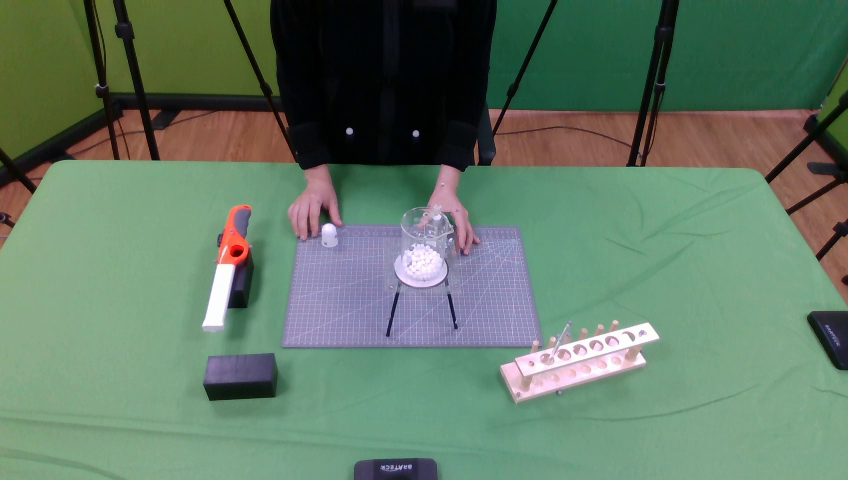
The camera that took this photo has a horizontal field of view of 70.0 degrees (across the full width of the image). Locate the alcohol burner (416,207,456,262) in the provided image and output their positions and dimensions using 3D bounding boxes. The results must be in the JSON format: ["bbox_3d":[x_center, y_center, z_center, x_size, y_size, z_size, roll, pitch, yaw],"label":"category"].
[{"bbox_3d":[0.024,-0.016,1.148,0.078,0.120,0.077,1,47,-1],"label":"alcohol burner"}]

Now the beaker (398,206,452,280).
[{"bbox_3d":[0.000,0.008,0.950,0.084,0.101,0.073,10,45,6],"label":"beaker"}]

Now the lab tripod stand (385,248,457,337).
[{"bbox_3d":[-0.010,0.087,1.032,0.148,0.132,0.147,1,45,-1],"label":"lab tripod stand"}]

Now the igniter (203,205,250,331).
[{"bbox_3d":[-0.345,0.039,1.065,0.057,0.025,0.274,2,48,-6],"label":"igniter"}]

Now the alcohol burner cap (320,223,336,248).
[{"bbox_3d":[-0.188,-0.011,1.176,0.034,0.048,0.033,2,46,-2],"label":"alcohol burner cap"}]

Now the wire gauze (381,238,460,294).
[{"bbox_3d":[-0.008,0.042,0.985,0.125,0.011,0.120,-1,43,-2],"label":"wire gauze"}]

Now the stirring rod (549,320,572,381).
[{"bbox_3d":[0.202,0.167,0.901,0.006,0.177,0.014,-17,55,-11],"label":"stirring rod"}]

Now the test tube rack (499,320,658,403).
[{"bbox_3d":[0.252,0.187,0.994,0.243,0.085,0.066,-12,48,-15],"label":"test tube rack"}]
